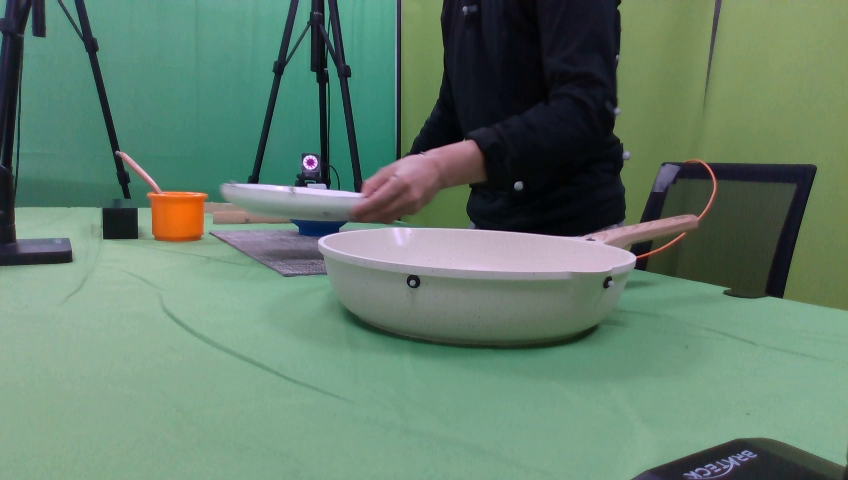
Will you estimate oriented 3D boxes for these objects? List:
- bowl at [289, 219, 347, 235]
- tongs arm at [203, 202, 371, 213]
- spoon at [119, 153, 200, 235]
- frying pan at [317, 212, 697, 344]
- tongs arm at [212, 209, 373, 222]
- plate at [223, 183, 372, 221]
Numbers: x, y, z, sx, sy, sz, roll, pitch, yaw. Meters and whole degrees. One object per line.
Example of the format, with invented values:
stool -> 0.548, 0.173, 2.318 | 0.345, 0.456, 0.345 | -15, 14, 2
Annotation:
bowl -> -0.195, -0.051, 1.114 | 0.151, 0.077, 0.151 | 2, 7, 0
tongs arm -> -0.312, -0.069, 1.417 | 0.387, 0.026, 0.050 | 1, 8, -24
spoon -> -0.439, -0.077, 1.001 | 0.021, 0.193, 0.042 | -43, -6, 21
frying pan -> 0.133, 0.013, 0.629 | 0.490, 0.102, 0.305 | -12, 14, -31
tongs arm -> -0.275, -0.055, 1.347 | 0.390, 0.028, 0.028 | -2, 6, -36
plate -> -0.179, -0.054, 0.866 | 0.208, 0.039, 0.207 | 5, 7, 0
